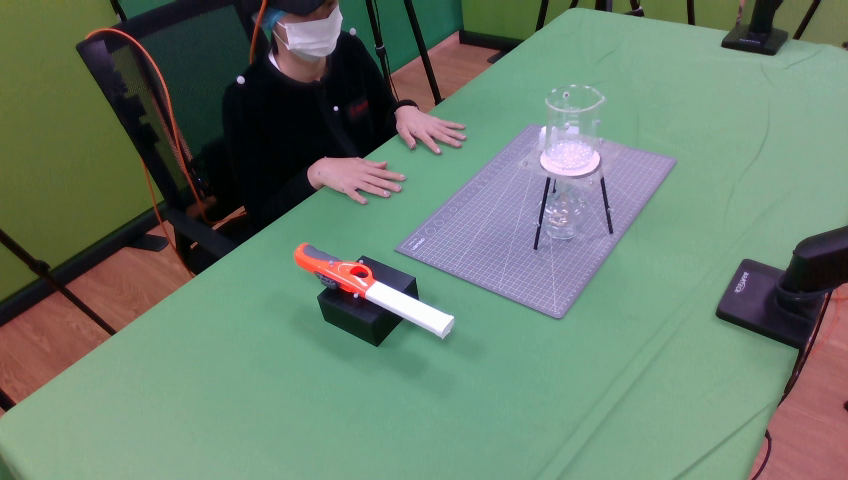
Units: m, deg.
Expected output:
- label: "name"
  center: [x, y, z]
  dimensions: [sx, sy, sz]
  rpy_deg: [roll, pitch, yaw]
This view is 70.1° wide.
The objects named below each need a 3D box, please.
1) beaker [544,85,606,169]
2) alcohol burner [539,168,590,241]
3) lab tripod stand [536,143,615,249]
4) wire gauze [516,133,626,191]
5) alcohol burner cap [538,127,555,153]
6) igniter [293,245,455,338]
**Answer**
- label: "beaker"
  center: [0.212, -0.158, 0.861]
  dimensions: [0.084, 0.101, 0.073]
  rpy_deg: [-3, 41, 6]
- label: "alcohol burner"
  center: [0.217, -0.059, 0.935]
  dimensions: [0.078, 0.119, 0.077]
  rpy_deg: [-6, 40, 6]
- label: "lab tripod stand"
  center: [0.224, -0.069, 0.931]
  dimensions: [0.148, 0.132, 0.147]
  rpy_deg: [-4, 42, 4]
- label: "wire gauze"
  center: [0.217, -0.122, 0.893]
  dimensions: [0.124, 0.011, 0.122]
  rpy_deg: [20, 47, 32]
- label: "alcohol burner cap"
  center: [0.234, -0.191, 1.147]
  dimensions: [0.034, 0.048, 0.033]
  rpy_deg: [-5, 40, 5]
- label: "igniter"
  center: [-0.079, 0.065, 0.833]
  dimensions: [0.274, 0.025, 0.057]
  rpy_deg: [23, 48, 27]
